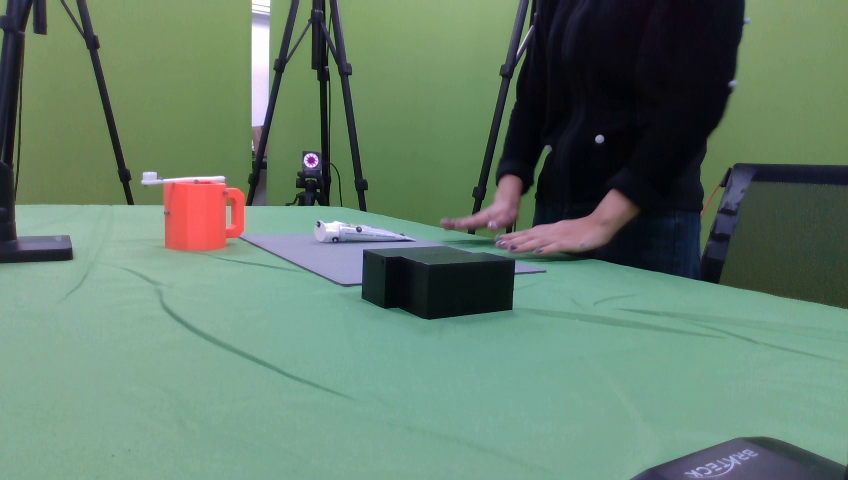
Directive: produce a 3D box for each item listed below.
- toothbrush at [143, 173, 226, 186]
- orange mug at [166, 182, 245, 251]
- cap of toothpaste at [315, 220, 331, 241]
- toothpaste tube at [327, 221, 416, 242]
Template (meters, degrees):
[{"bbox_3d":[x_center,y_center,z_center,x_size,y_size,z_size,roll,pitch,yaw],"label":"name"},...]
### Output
[{"bbox_3d":[-0.342,-0.089,0.878,0.014,0.016,0.182,1,7,15],"label":"toothbrush"},{"bbox_3d":[-0.326,-0.040,0.911,0.083,0.101,0.127,8,14,37],"label":"orange mug"},{"bbox_3d":[-0.164,-0.016,0.982,0.011,0.037,0.037,-8,12,-43],"label":"cap of toothpaste"},{"bbox_3d":[-0.095,-0.012,1.026,0.166,0.034,0.055,2,13,-33],"label":"toothpaste tube"}]
